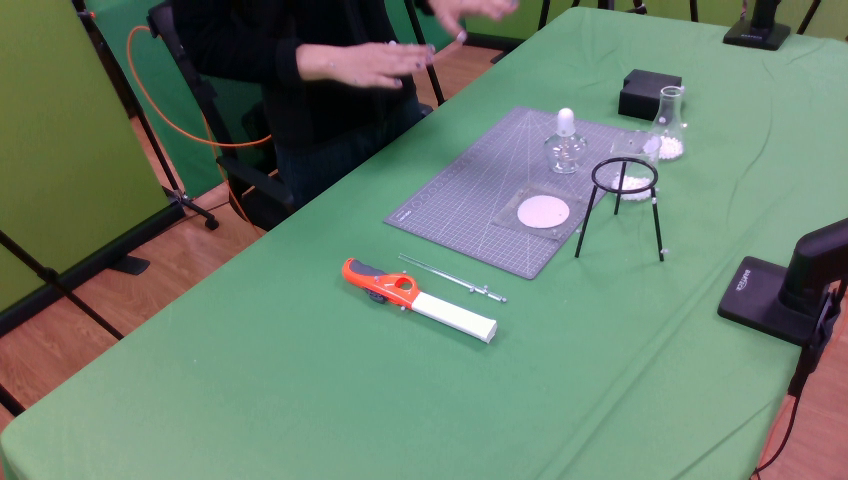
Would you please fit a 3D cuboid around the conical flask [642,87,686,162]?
[{"bbox_3d":[0.429,-0.206,1.067,0.075,0.122,0.075,-6,40,6],"label":"conical flask"}]

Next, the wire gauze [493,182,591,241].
[{"bbox_3d":[0.198,-0.048,1.011,0.120,0.011,0.125,20,50,31],"label":"wire gauze"}]

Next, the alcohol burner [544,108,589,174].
[{"bbox_3d":[0.252,-0.178,1.071,0.078,0.120,0.077,-7,40,7],"label":"alcohol burner"}]

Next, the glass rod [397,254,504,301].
[{"bbox_3d":[0.036,0.054,0.922,0.198,0.008,0.008,22,50,31],"label":"glass rod"}]

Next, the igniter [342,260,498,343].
[{"bbox_3d":[-0.017,0.084,0.883,0.274,0.025,0.057,20,58,31],"label":"igniter"}]

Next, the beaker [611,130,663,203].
[{"bbox_3d":[0.346,-0.118,0.998,0.084,0.101,0.073,-17,40,-7],"label":"beaker"}]

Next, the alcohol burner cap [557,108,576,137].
[{"bbox_3d":[0.246,-0.205,1.047,0.034,0.048,0.033,-8,44,8],"label":"alcohol burner cap"}]

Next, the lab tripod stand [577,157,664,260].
[{"bbox_3d":[0.292,-0.047,0.897,0.148,0.132,0.147,-7,38,6],"label":"lab tripod stand"}]
